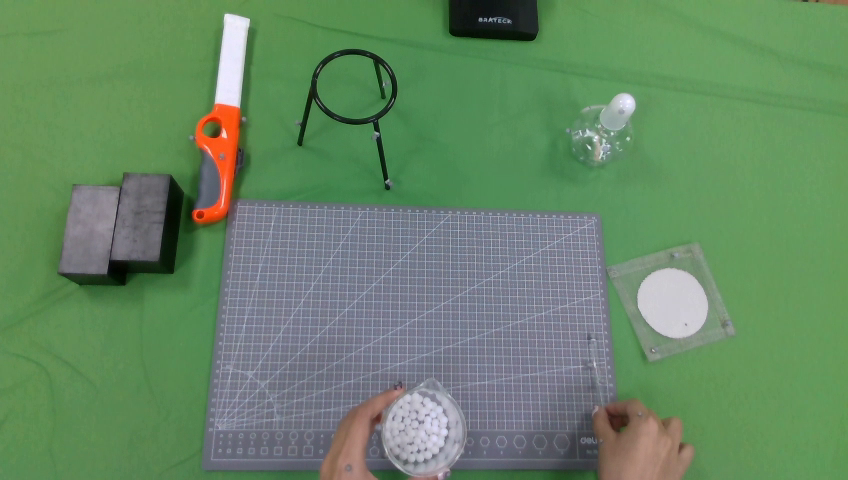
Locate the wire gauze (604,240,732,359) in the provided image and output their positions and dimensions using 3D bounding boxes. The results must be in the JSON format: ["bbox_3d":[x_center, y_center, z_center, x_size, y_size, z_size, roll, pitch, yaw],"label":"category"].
[{"bbox_3d":[0.297,0.070,0.733,0.125,0.011,0.120,-16,75,-8],"label":"wire gauze"}]

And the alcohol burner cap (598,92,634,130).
[{"bbox_3d":[0.224,-0.151,0.699,0.034,0.048,0.033,1,77,-2],"label":"alcohol burner cap"}]

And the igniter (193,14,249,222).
[{"bbox_3d":[-0.241,-0.151,0.732,0.057,0.025,0.275,7,72,-19],"label":"igniter"}]

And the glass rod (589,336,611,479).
[{"bbox_3d":[0.196,0.204,0.669,0.008,0.008,0.198,1,69,-6],"label":"glass rod"}]

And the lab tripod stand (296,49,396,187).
[{"bbox_3d":[-0.079,-0.146,0.693,0.148,0.132,0.147,2,71,-4],"label":"lab tripod stand"}]

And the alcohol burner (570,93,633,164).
[{"bbox_3d":[0.221,-0.140,0.733,0.078,0.119,0.077,2,71,-5],"label":"alcohol burner"}]

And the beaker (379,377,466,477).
[{"bbox_3d":[-0.005,0.173,0.568,0.074,0.100,0.083,11,73,-4],"label":"beaker"}]
